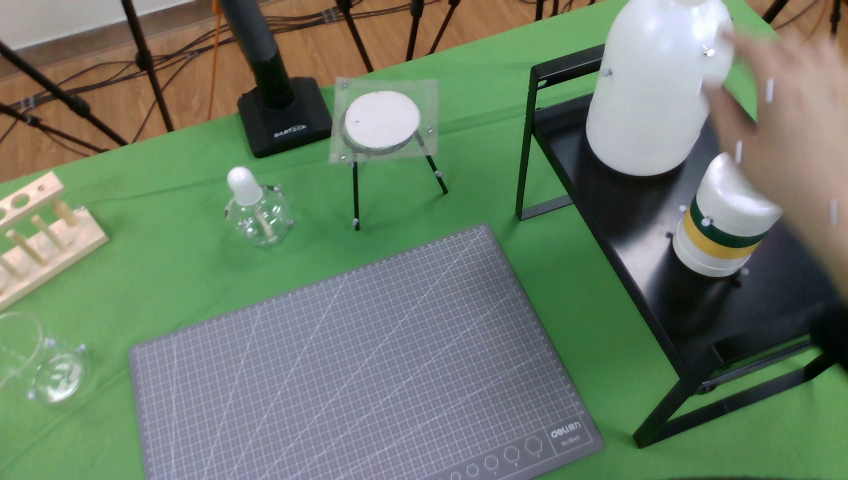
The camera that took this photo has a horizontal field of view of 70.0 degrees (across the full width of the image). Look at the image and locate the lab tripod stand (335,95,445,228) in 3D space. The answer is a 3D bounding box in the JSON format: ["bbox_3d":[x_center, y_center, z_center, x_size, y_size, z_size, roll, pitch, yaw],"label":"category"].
[{"bbox_3d":[-0.049,-0.101,0.745,0.148,0.132,0.147,-1,57,2],"label":"lab tripod stand"}]

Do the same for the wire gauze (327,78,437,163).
[{"bbox_3d":[-0.046,-0.140,0.689,0.121,0.011,0.124,0,59,1],"label":"wire gauze"}]

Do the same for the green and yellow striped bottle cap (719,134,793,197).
[{"bbox_3d":[0.239,-0.054,0.435,0.045,0.020,0.045,-1,60,1],"label":"green and yellow striped bottle cap"}]

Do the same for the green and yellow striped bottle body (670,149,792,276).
[{"bbox_3d":[0.243,-0.026,0.479,0.063,0.121,0.062,-2,58,3],"label":"green and yellow striped bottle body"}]

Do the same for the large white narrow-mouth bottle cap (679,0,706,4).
[{"bbox_3d":[0.196,-0.191,0.436,0.038,0.024,0.037,-1,60,2],"label":"large white narrow-mouth bottle cap"}]

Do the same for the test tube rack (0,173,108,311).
[{"bbox_3d":[-0.521,0.030,0.721,0.242,0.086,0.066,-39,64,-19],"label":"test tube rack"}]

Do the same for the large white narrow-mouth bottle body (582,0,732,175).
[{"bbox_3d":[0.199,-0.148,0.512,0.102,0.196,0.101,-1,60,2],"label":"large white narrow-mouth bottle body"}]

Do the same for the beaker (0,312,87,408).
[{"bbox_3d":[-0.417,0.134,0.644,0.074,0.101,0.083,-6,58,0],"label":"beaker"}]

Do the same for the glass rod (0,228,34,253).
[{"bbox_3d":[-0.515,-0.040,0.685,0.008,0.202,0.008,-6,54,9],"label":"glass rod"}]

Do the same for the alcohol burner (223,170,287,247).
[{"bbox_3d":[-0.209,-0.044,0.732,0.078,0.120,0.077,-1,57,2],"label":"alcohol burner"}]

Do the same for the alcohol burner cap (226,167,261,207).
[{"bbox_3d":[-0.212,-0.064,0.701,0.034,0.048,0.033,-1,57,2],"label":"alcohol burner cap"}]
